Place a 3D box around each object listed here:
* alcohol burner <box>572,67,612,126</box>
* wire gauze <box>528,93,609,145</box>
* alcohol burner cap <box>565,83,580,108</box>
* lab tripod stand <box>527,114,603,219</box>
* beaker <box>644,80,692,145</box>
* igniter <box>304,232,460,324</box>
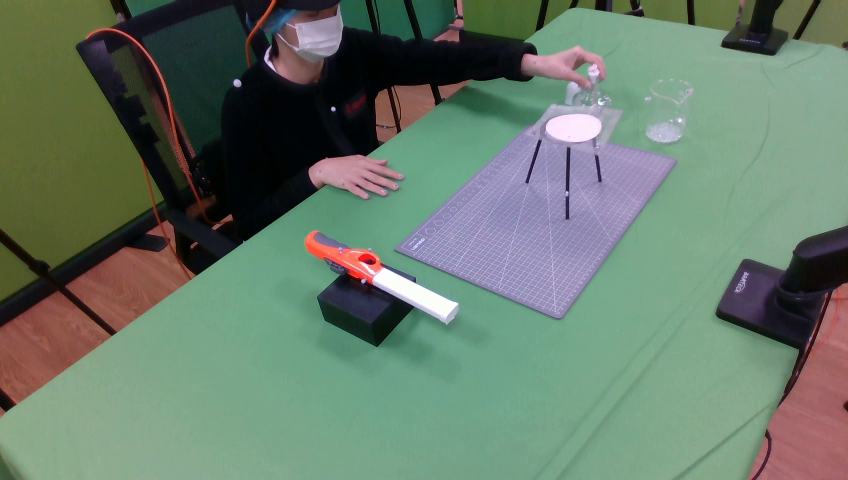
[{"bbox_3d":[0.331,-0.286,1.190,0.078,0.120,0.077,-6,43,6],"label":"alcohol burner"},{"bbox_3d":[0.225,-0.188,0.943,0.121,0.011,0.124,6,48,9],"label":"wire gauze"},{"bbox_3d":[0.315,-0.308,1.277,0.034,0.048,0.033,-4,42,4],"label":"alcohol burner cap"},{"bbox_3d":[0.234,-0.129,1.002,0.148,0.132,0.147,-6,40,6],"label":"lab tripod stand"},{"bbox_3d":[0.451,-0.233,1.122,0.074,0.101,0.083,-8,40,1],"label":"beaker"},{"bbox_3d":[-0.070,0.048,0.853,0.274,0.025,0.057,24,47,29],"label":"igniter"}]
